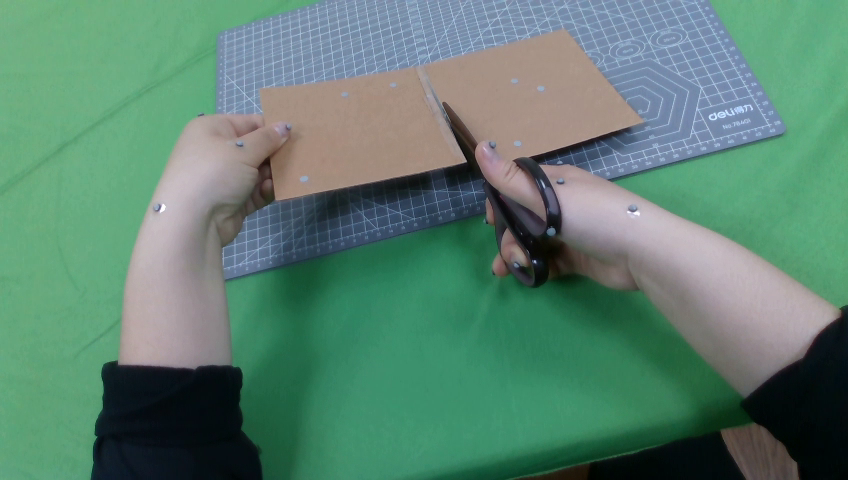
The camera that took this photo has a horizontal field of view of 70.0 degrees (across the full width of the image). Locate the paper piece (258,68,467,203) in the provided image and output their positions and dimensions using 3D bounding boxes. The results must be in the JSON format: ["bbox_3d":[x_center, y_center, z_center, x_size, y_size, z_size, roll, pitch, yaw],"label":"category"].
[{"bbox_3d":[-0.053,-0.086,0.459,0.138,0.009,0.134,-13,44,-7],"label":"paper piece"}]

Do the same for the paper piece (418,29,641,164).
[{"bbox_3d":[0.079,-0.119,0.482,0.135,0.004,0.134,-16,54,-10],"label":"paper piece"}]

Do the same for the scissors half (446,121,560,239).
[{"bbox_3d":[0.044,-0.054,0.410,0.013,0.040,0.173,-14,33,-16],"label":"scissors half"}]

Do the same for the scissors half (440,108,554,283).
[{"bbox_3d":[0.045,-0.039,0.425,0.013,0.040,0.173,-18,57,-12],"label":"scissors half"}]
